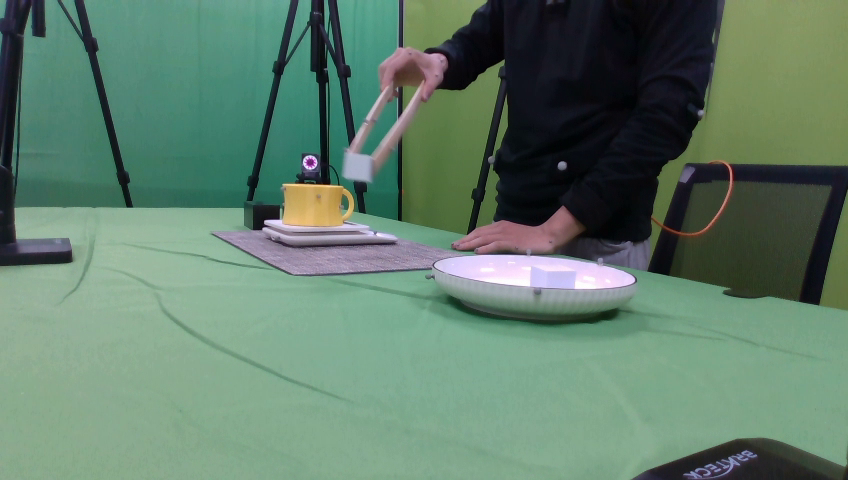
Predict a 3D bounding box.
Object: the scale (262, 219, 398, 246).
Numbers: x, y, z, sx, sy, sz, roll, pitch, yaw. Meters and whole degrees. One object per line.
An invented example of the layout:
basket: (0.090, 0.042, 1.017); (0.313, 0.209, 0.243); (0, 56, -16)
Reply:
scale: (-0.160, -0.016, 1.028); (0.202, 0.031, 0.148); (-2, 9, -32)

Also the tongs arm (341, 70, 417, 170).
tongs arm: (-0.059, -0.196, 0.926); (0.051, 0.026, 0.384); (4, 31, 5)

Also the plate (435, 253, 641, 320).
plate: (0.114, 0.047, 0.626); (0.208, 0.039, 0.207); (2, 7, 0)

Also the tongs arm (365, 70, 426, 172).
tongs arm: (-0.037, -0.193, 0.923); (0.028, 0.028, 0.387); (3, 31, 11)

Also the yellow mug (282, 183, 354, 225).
yellow mug: (-0.172, -0.061, 1.010); (0.131, 0.064, 0.099); (-2, 8, -42)
